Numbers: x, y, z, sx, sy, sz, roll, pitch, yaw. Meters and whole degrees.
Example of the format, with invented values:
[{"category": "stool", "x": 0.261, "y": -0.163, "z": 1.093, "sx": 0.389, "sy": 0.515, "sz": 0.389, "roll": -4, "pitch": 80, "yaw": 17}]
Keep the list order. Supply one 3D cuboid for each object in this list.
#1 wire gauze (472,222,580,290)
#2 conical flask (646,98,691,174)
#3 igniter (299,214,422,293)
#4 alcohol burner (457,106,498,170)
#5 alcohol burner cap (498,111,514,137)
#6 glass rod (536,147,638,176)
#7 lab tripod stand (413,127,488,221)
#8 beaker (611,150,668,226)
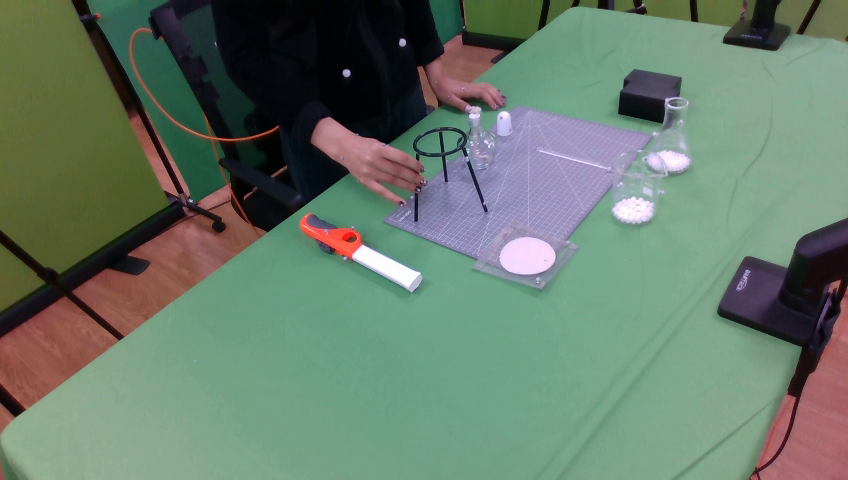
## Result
[{"category": "wire gauze", "x": 0.158, "y": 0.024, "z": 0.933, "sx": 0.120, "sy": 0.011, "sz": 0.125, "roll": 21, "pitch": 49, "yaw": 31}, {"category": "conical flask", "x": 0.426, "y": -0.180, "z": 1.037, "sx": 0.075, "sy": 0.122, "sz": 0.075, "roll": -5, "pitch": 40, "yaw": 5}, {"category": "igniter", "x": -0.113, "y": 0.016, "z": 0.983, "sx": 0.274, "sy": 0.025, "sz": 0.057, "roll": 26, "pitch": 62, "yaw": 35}, {"category": "alcohol burner", "x": 0.097, "y": -0.192, "z": 1.117, "sx": 0.078, "sy": 0.119, "sz": 0.077, "roll": -7, "pitch": 39, "yaw": 6}, {"category": "alcohol burner cap", "x": 0.163, "y": -0.235, "z": 1.211, "sx": 0.034, "sy": 0.048, "sz": 0.033, "roll": -6, "pitch": 40, "yaw": 6}, {"category": "glass rod", "x": 0.294, "y": -0.145, "z": 1.104, "sx": 0.198, "sy": 0.008, "sz": 0.008, "roll": 22, "pitch": 50, "yaw": 31}, {"category": "lab tripod stand", "x": 0.034, "y": -0.115, "z": 1.021, "sx": 0.148, "sy": 0.132, "sz": 0.147, "roll": -7, "pitch": 38, "yaw": 6}, {"category": "beaker", "x": 0.337, "y": -0.079, "z": 0.953, "sx": 0.083, "sy": 0.101, "sz": 0.074, "roll": 25, "pitch": 51, "yaw": 33}]
